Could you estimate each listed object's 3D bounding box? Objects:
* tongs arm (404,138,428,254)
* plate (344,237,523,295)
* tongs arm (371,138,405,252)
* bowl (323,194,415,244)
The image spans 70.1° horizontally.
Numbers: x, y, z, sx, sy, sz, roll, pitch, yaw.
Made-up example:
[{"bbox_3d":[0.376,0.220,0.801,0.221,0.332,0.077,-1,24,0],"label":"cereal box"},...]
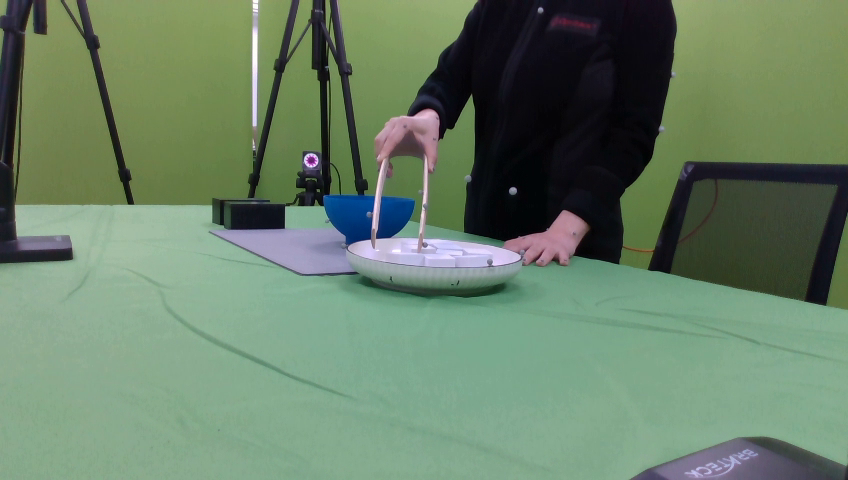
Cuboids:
[{"bbox_3d":[-0.017,-0.076,0.823,0.051,0.026,0.384,3,25,2],"label":"tongs arm"},{"bbox_3d":[0.010,0.030,0.707,0.208,0.039,0.207,3,8,0],"label":"plate"},{"bbox_3d":[-0.048,-0.078,0.822,0.028,0.028,0.387,-1,25,1],"label":"tongs arm"},{"bbox_3d":[-0.091,-0.032,0.986,0.151,0.077,0.151,2,7,0],"label":"bowl"}]
